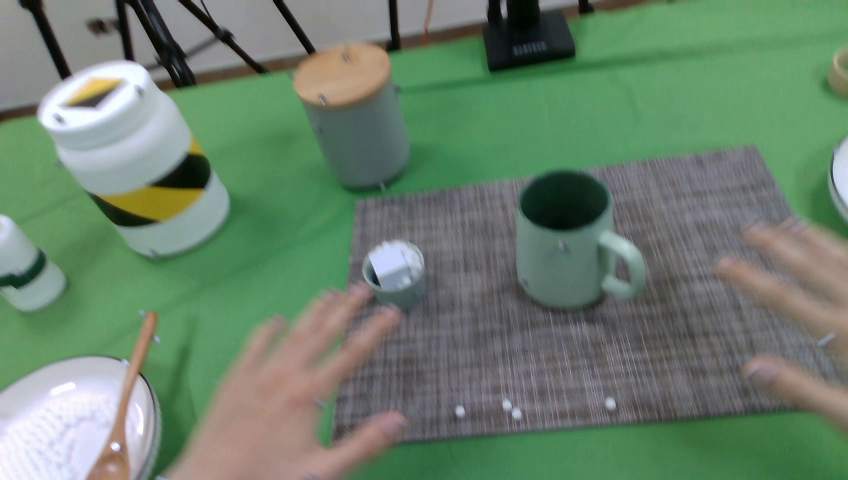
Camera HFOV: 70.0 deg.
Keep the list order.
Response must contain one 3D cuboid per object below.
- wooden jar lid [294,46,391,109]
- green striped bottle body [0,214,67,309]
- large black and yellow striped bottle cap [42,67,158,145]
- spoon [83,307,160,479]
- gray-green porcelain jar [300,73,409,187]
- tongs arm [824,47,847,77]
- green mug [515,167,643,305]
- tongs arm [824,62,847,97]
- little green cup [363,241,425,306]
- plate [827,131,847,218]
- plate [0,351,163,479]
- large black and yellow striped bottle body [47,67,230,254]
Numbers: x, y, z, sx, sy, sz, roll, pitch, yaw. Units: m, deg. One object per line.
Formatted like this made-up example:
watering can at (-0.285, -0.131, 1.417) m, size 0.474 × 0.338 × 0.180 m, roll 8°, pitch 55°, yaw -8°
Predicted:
wooden jar lid at (-0.088, -0.176, 0.667) m, size 0.108 × 0.021 × 0.107 m, roll -6°, pitch 50°, yaw 8°
green striped bottle body at (-0.460, 0.019, 0.670) m, size 0.063 × 0.120 × 0.062 m, roll -7°, pitch 47°, yaw 8°
large black and yellow striped bottle cap at (-0.333, -0.140, 0.624) m, size 0.115 × 0.019 × 0.114 m, roll -7°, pitch 46°, yaw 7°
spoon at (-0.267, 0.143, 0.547) m, size 0.041 × 0.022 × 0.192 m, roll -5°, pitch 56°, yaw 7°
gray-green porcelain jar at (-0.077, -0.134, 0.712) m, size 0.106 × 0.128 × 0.105 m, roll -7°, pitch 48°, yaw 8°
tongs arm at (0.648, -0.177, 0.638) m, size 0.382 × 0.027 × 0.050 m, roll 13°, pitch 58°, yaw 24°
green mug at (0.140, 0.005, 0.544) m, size 0.124 × 0.106 × 0.092 m, roll 31°, pitch 62°, yaw 35°
tongs arm at (0.610, -0.119, 0.601) m, size 0.384 × 0.028 × 0.028 m, roll 25°, pitch 67°, yaw 31°
little green cup at (-0.028, 0.035, 0.603) m, size 0.061 × 0.039 × 0.061 m, roll -6°, pitch 47°, yaw 7°
plate at (0.487, -0.044, 0.557) m, size 0.207 × 0.039 × 0.205 m, roll -7°, pitch 48°, yaw 8°
plate at (-0.327, 0.196, 0.535) m, size 0.209 × 0.038 × 0.207 m, roll -7°, pitch 47°, yaw 8°
large black and yellow striped bottle body at (-0.317, -0.087, 0.686) m, size 0.130 × 0.186 × 0.129 m, roll -7°, pitch 48°, yaw 8°
